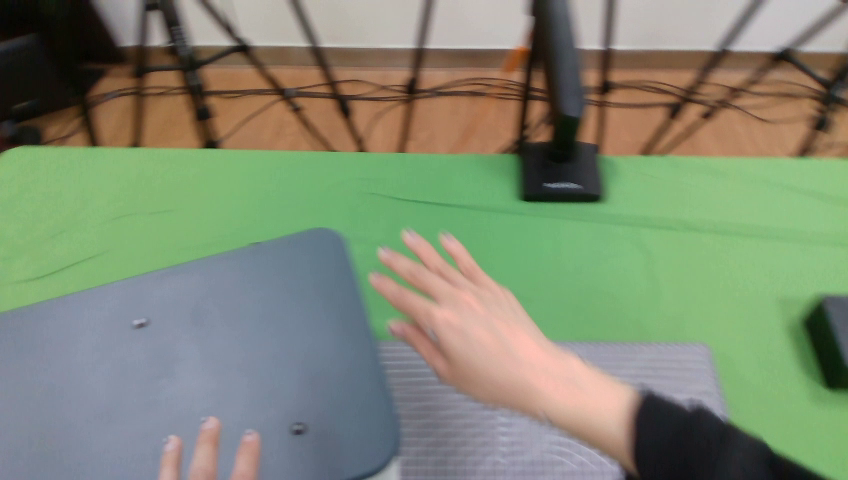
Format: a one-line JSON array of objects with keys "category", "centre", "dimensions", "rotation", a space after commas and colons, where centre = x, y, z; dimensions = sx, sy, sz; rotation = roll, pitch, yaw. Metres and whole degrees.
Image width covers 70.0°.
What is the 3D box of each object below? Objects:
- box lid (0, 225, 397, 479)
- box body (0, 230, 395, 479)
[{"category": "box lid", "centre": [-0.227, 0.126, 0.521], "dimensions": [0.372, 0.015, 0.260], "rotation": [-16, 53, -11]}, {"category": "box body", "centre": [-0.226, 0.173, 0.580], "dimensions": [0.364, 0.162, 0.251], "rotation": [-16, 53, -11]}]
